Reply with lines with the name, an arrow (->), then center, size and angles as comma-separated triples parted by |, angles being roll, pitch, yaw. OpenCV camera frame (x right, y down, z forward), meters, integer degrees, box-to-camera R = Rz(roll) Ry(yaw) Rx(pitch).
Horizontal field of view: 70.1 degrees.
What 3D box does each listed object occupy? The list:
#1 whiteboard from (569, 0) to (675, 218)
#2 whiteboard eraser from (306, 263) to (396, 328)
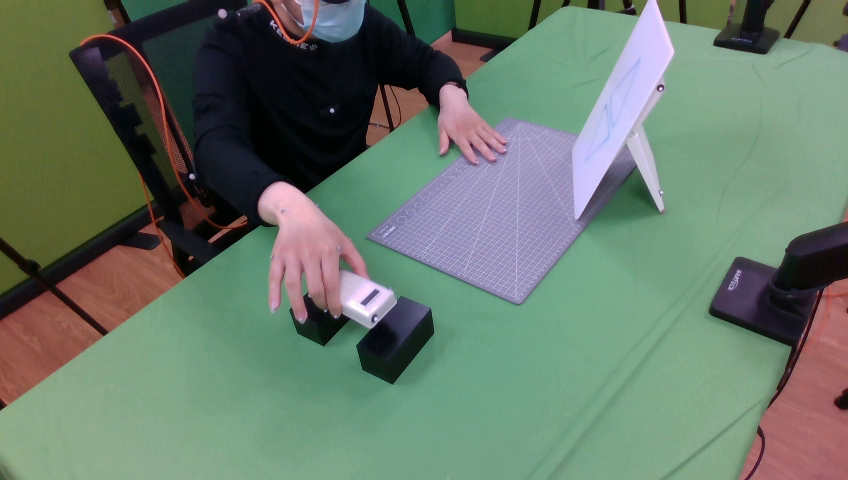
whiteboard -> 0.363, -0.187, 0.965 | 0.144, 0.305, 0.216 | 18, 42, -3
whiteboard eraser -> -0.095, 0.073, 0.786 | 0.112, 0.042, 0.056 | 22, 45, 29
